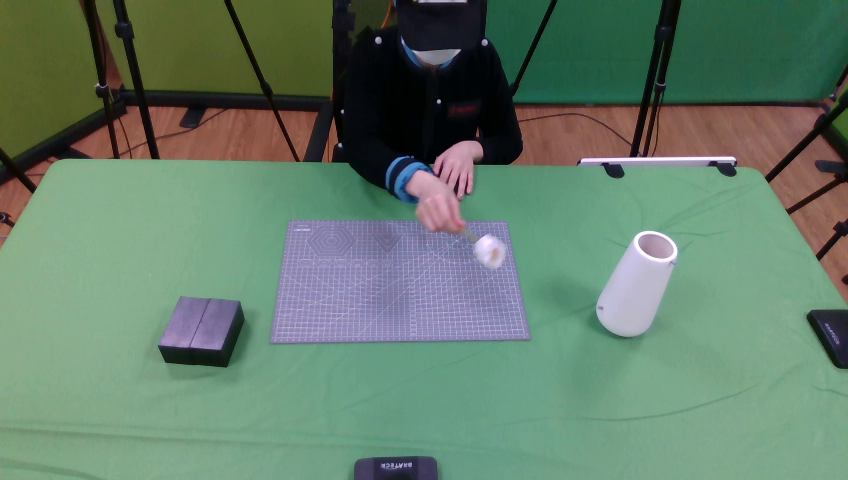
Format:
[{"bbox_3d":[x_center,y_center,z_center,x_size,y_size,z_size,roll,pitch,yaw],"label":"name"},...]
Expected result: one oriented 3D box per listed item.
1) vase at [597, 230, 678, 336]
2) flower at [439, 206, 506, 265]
[{"bbox_3d":[0.360,0.077,1.026,0.098,0.201,0.097,1,47,-1],"label":"vase"},{"bbox_3d":[0.067,-0.024,1.030,0.038,0.044,0.360,-31,17,-3],"label":"flower"}]
